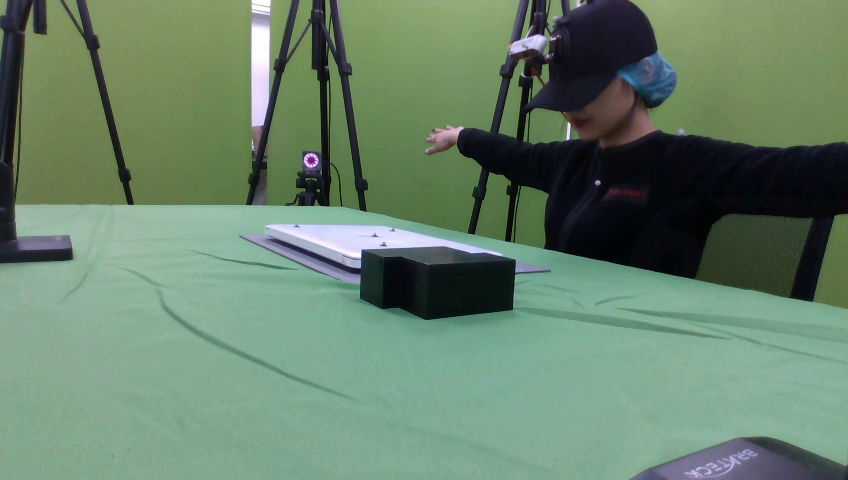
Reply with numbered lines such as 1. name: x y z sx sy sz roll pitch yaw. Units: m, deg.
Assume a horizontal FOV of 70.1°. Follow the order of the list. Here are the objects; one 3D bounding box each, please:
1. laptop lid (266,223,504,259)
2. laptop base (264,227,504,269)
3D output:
1. laptop lid: -0.074 -0.003 0.914 0.243 0.013 0.355 1 7 -31
2. laptop base: -0.077 0.009 0.914 0.237 0.023 0.352 2 6 -33
